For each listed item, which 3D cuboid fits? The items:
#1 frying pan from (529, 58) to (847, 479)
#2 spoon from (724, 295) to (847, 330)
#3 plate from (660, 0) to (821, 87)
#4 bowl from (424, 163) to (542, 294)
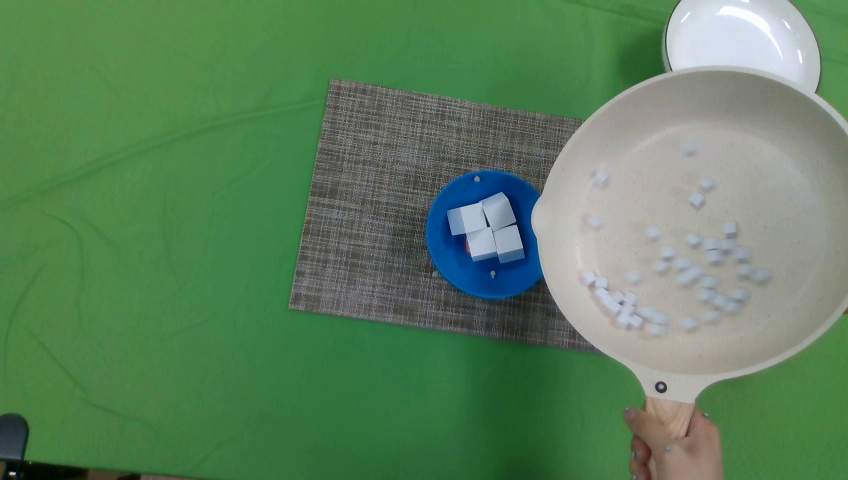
[{"bbox_3d":[0.230,0.077,0.558,0.305,0.104,0.486,4,75,37],"label":"frying pan"},{"bbox_3d":[0.454,0.075,0.703,0.022,0.193,0.041,7,73,-50],"label":"spoon"},{"bbox_3d":[0.397,-0.242,0.773,0.208,0.039,0.206,1,79,-5],"label":"plate"},{"bbox_3d":[0.071,-0.006,0.713,0.151,0.077,0.150,1,78,-6],"label":"bowl"}]
